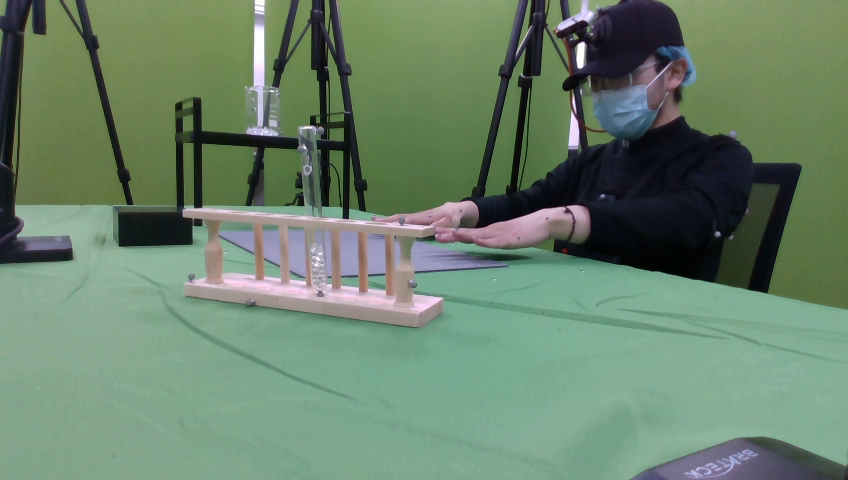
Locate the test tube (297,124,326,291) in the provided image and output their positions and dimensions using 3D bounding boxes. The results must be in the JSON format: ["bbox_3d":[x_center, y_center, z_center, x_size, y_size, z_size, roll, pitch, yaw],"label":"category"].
[{"bbox_3d":[-0.101,-0.028,0.542,0.017,0.150,0.017,-2,10,1],"label":"test tube"}]

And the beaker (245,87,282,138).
[{"bbox_3d":[-0.337,-0.266,1.260,0.074,0.100,0.084,5,8,23],"label":"beaker"}]

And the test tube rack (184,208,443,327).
[{"bbox_3d":[-0.106,0.019,0.570,0.241,0.085,0.067,5,7,20],"label":"test tube rack"}]
